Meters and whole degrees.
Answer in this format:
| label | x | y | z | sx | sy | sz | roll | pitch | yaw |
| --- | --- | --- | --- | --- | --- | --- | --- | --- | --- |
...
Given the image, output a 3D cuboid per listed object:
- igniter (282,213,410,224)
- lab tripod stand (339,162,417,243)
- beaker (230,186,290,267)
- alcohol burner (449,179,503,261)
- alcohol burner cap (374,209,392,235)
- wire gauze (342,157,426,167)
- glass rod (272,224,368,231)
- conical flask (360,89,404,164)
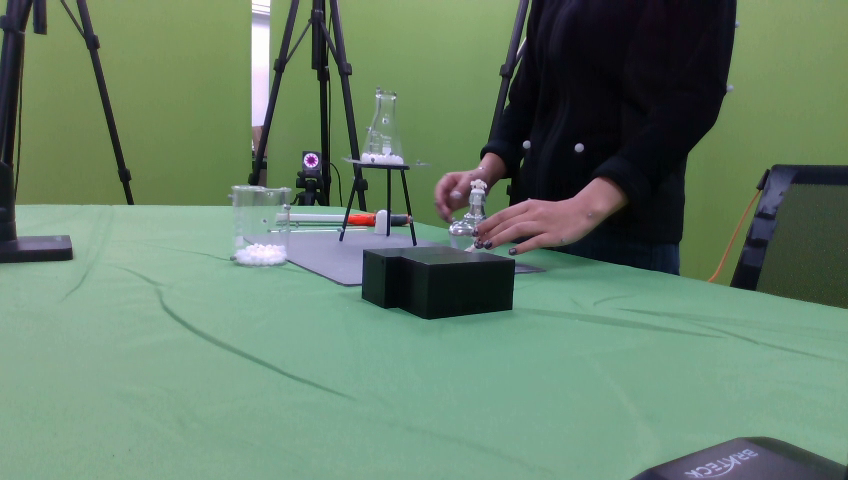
| label | x | y | z | sx | sy | sz | roll | pitch | yaw |
| --- | --- | --- | --- | --- | --- | --- | --- | --- | --- |
| igniter | -0.159 | -0.046 | 1.287 | 0.278 | 0.025 | 0.057 | -1 | -3 | -21 |
| lab tripod stand | -0.067 | -0.065 | 1.027 | 0.148 | 0.131 | 0.148 | 4 | 7 | 0 |
| beaker | -0.209 | -0.019 | 0.778 | 0.074 | 0.100 | 0.084 | 3 | 6 | 4 |
| alcohol burner | 0.076 | -0.029 | 0.867 | 0.078 | 0.119 | 0.078 | 5 | 8 | 0 |
| alcohol burner cap | -0.078 | -0.036 | 1.148 | 0.034 | 0.048 | 0.034 | 2 | 8 | 0 |
| wire gauze | -0.065 | -0.130 | 1.017 | 0.122 | 0.011 | 0.124 | 2 | 5 | -27 |
| glass rod | -0.197 | -0.024 | 1.170 | 0.201 | 0.008 | 0.008 | -3 | 9 | -34 |
| conical flask | -0.067 | -0.189 | 1.010 | 0.075 | 0.122 | 0.075 | 4 | 6 | 0 |
